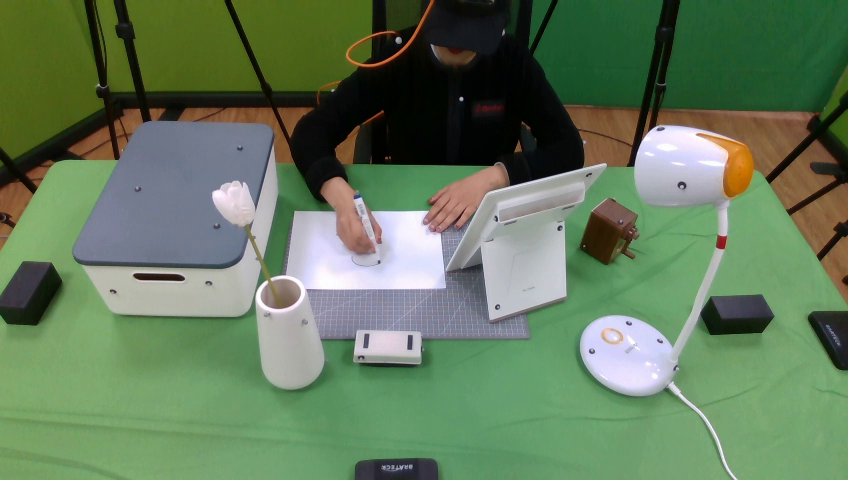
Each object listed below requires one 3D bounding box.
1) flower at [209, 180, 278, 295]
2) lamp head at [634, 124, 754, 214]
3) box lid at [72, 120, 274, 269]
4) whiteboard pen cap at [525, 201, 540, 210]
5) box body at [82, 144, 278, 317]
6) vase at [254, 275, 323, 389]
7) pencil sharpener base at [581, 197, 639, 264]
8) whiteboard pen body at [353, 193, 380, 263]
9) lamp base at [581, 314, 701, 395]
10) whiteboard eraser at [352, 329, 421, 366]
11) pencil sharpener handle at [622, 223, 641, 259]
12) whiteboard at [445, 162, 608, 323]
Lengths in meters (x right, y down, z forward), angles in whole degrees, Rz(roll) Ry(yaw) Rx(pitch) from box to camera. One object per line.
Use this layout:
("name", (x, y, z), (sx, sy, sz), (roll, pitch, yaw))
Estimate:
("flower", (-0.216, 0.075, 0.871), (0.044, 0.363, 0.038), (-29, 36, -19))
("lamp head", (0.351, -0.089, 0.776), (0.112, 0.113, 0.122), (-30, 30, -28))
("box lid", (-0.417, -0.094, 1.056), (0.263, 0.015, 0.369), (1, 47, -3))
("whiteboard pen cap", (0.230, -0.074, 1.289), (0.033, 0.018, 0.018), (5, 46, 4))
("box body", (-0.421, -0.041, 1.108), (0.254, 0.161, 0.361), (2, 46, -3))
("vase", (-0.209, 0.143, 0.921), (0.098, 0.201, 0.097), (1, 46, -1))
("pencil sharpener base", (0.362, -0.017, 1.179), (0.076, 0.107, 0.061), (37, 54, 27))
("whiteboard pen body", (-0.106, -0.020, 1.139), (0.017, 0.141, 0.017), (-16, 15, 5))
("lamp base", (0.361, 0.144, 0.973), (0.178, 0.181, 0.160), (34, 53, 23))
("whiteboard eraser", (-0.061, 0.180, 1.005), (0.113, 0.042, 0.055), (3, 48, -3))
("pencil sharpener handle", (0.397, 0.003, 1.146), (0.030, 0.068, 0.036), (37, 46, 27))
("whiteboard", (0.186, 0.025, 1.029), (0.217, 0.306, 0.143), (-14, 68, -17))
